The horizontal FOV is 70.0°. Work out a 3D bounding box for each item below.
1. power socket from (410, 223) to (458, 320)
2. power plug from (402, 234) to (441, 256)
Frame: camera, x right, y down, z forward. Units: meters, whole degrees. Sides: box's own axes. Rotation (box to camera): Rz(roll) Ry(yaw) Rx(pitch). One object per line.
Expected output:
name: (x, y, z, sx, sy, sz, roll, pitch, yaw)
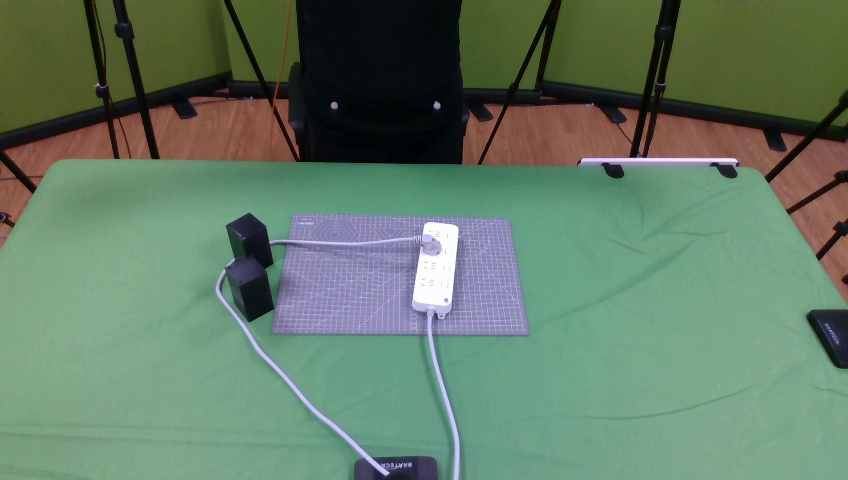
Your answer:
power socket: (0.022, 0.050, 1.139, 0.072, 0.033, 0.225, 6, 46, 3)
power plug: (-0.003, 0.010, 1.150, 0.072, 0.053, 0.035, 13, 46, 11)
